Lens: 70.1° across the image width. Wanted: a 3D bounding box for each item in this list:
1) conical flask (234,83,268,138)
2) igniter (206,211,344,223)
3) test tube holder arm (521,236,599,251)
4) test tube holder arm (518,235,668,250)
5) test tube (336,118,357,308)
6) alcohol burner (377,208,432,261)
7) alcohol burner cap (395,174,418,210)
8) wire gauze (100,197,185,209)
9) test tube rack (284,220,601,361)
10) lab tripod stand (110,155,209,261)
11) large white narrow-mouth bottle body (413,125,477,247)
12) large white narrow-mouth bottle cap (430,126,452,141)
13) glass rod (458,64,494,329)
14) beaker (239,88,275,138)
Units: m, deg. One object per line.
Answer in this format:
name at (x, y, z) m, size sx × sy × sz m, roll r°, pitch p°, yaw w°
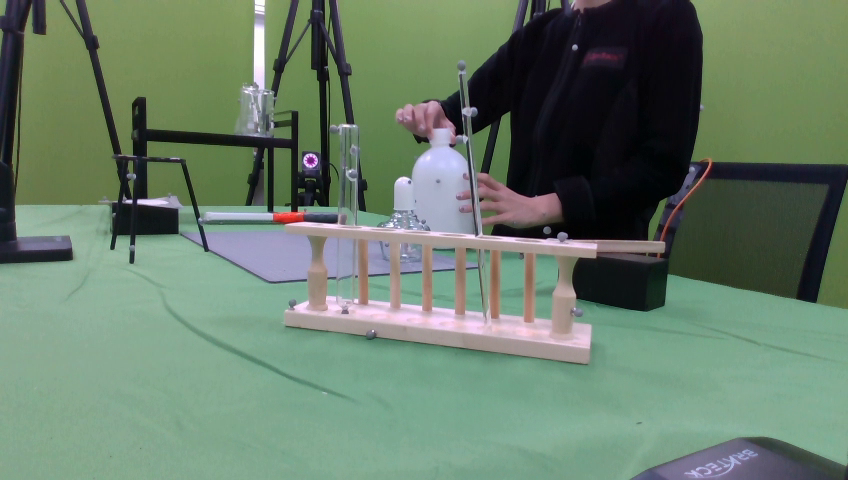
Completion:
conical flask at (-0.399, -0.298, 1.396) m, size 0.075 × 0.122 × 0.075 m, roll 2°, pitch 8°, yaw 0°
igniter at (-0.302, -0.048, 1.249) m, size 0.278 × 0.025 × 0.057 m, roll -2°, pitch -2°, yaw -27°
test tube holder arm at (0.144, 0.004, 0.635) m, size 0.088 × 0.015 × 0.010 m, roll 0°, pitch 13°, yaw -19°
test tube holder arm at (0.185, 0.003, 0.654) m, size 0.179 × 0.015 × 0.013 m, roll 1°, pitch 13°, yaw -17°
test tube at (-0.061, -0.019, 0.476) m, size 0.017 × 0.150 × 0.017 m, roll 2°, pitch 11°, yaw 0°
alcohol burner at (-0.027, -0.031, 0.838) m, size 0.078 × 0.119 × 0.078 m, roll 0°, pitch 6°, yaw 0°
alcohol burner cap at (-0.026, -0.067, 0.833) m, size 0.034 × 0.048 × 0.034 m, roll -1°, pitch 12°, yaw 1°
wire gauze at (-0.469, -0.062, 1.008) m, size 0.126 × 0.011 × 0.121 m, roll -2°, pitch 8°, yaw -25°
test tube rack at (0.013, 0.032, 0.482) m, size 0.242 × 0.085 × 0.067 m, roll 4°, pitch 7°, yaw 16°
lab tripod stand at (-0.361, -0.046, 0.806) m, size 0.148 × 0.131 × 0.148 m, roll 2°, pitch 5°, yaw 0°
large white narrow-mouth bottle body at (0.033, -0.090, 0.998) m, size 0.102 × 0.194 × 0.102 m, roll -3°, pitch 8°, yaw 1°
large white narrow-mouth bottle cap at (0.027, -0.173, 0.986) m, size 0.038 × 0.024 × 0.037 m, roll -3°, pitch 8°, yaw 1°
glass rod at (0.039, -0.029, 0.449) m, size 0.008 × 0.199 × 0.008 m, roll -7°, pitch 9°, yaw 1°
beaker at (-0.361, -0.273, 1.307) m, size 0.074 × 0.100 × 0.084 m, roll 0°, pitch 8°, yaw -11°
